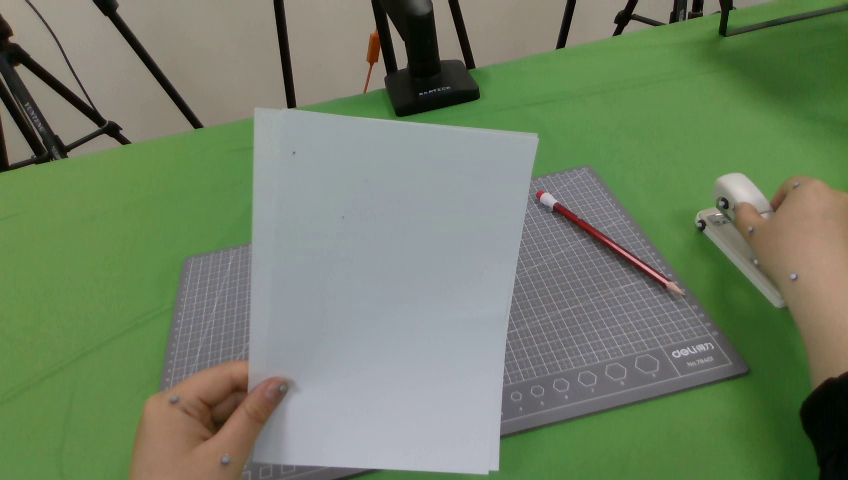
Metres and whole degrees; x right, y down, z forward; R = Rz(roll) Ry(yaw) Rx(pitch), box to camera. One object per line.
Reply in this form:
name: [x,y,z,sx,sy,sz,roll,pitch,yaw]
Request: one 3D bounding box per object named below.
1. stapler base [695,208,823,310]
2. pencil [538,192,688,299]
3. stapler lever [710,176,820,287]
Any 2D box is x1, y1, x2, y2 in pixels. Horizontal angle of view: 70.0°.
stapler base: [0.288,0.006,0.528,0.041,0.025,0.129,-16,41,-3]
pencil: [0.169,0.001,0.565,0.012,0.012,0.192,-26,42,-18]
stapler lever: [0.285,-0.011,0.511,0.027,0.040,0.116,-16,40,-3]
